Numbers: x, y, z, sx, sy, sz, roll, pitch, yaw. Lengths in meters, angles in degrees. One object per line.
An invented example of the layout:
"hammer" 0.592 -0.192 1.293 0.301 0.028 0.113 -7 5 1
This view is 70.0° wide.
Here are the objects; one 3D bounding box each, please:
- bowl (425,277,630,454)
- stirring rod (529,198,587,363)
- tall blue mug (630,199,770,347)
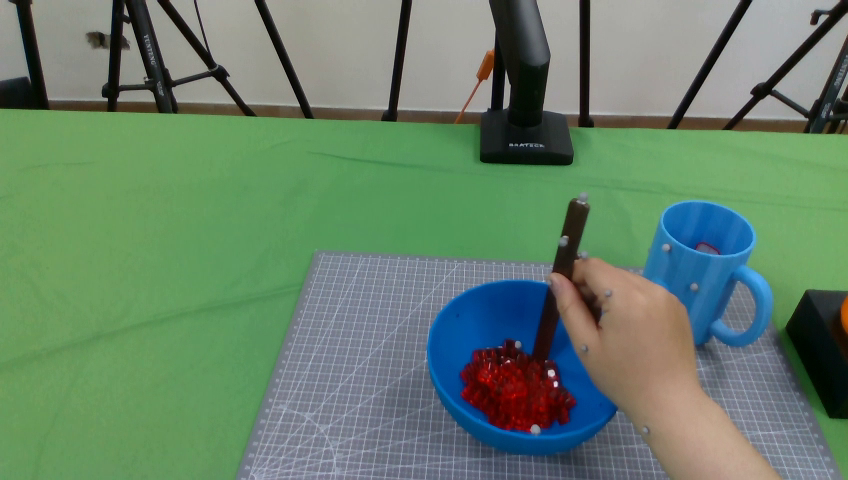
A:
"bowl" 0.075 0.108 0.471 0.151 0.077 0.150 0 41 0
"stirring rod" 0.094 0.037 0.439 0.014 0.178 0.006 23 50 20
"tall blue mug" 0.247 0.035 0.533 0.106 0.109 0.077 22 45 24
